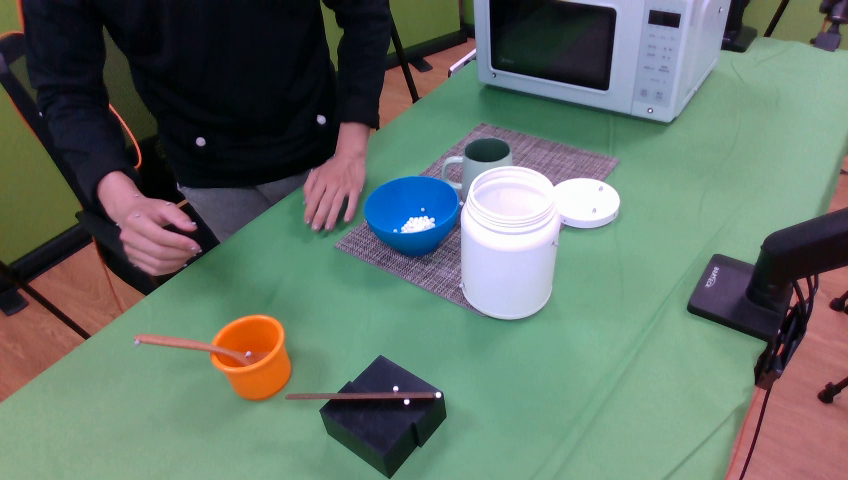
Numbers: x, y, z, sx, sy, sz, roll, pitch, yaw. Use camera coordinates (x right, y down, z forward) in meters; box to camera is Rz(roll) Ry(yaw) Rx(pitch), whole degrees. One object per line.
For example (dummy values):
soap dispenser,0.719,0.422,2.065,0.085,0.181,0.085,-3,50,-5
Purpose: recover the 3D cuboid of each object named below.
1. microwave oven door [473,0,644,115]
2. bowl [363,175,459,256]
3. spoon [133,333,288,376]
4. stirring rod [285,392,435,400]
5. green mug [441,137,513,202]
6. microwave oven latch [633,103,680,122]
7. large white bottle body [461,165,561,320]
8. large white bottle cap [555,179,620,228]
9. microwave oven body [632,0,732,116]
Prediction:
microwave oven door,0.257,-0.396,1.199,0.353,0.245,0.039,21,48,29
bowl,-0.016,-0.029,0.955,0.151,0.077,0.150,-4,40,4
spoon,-0.257,0.137,0.747,0.021,0.195,0.041,-48,40,22
stirring rod,-0.075,0.180,0.698,0.176,0.006,0.014,-2,6,7
green mug,0.091,-0.108,1.012,0.125,0.105,0.092,2,42,11
microwave oven latch,0.444,-0.249,1.157,0.078,0.029,0.030,21,49,30
large white bottle body,0.115,0.004,0.816,0.130,0.185,0.130,-2,43,2
large white bottle cap,0.265,-0.062,1.001,0.115,0.018,0.114,-3,41,3
microwave oven body,0.377,-0.462,1.267,0.438,0.261,0.327,21,48,30
